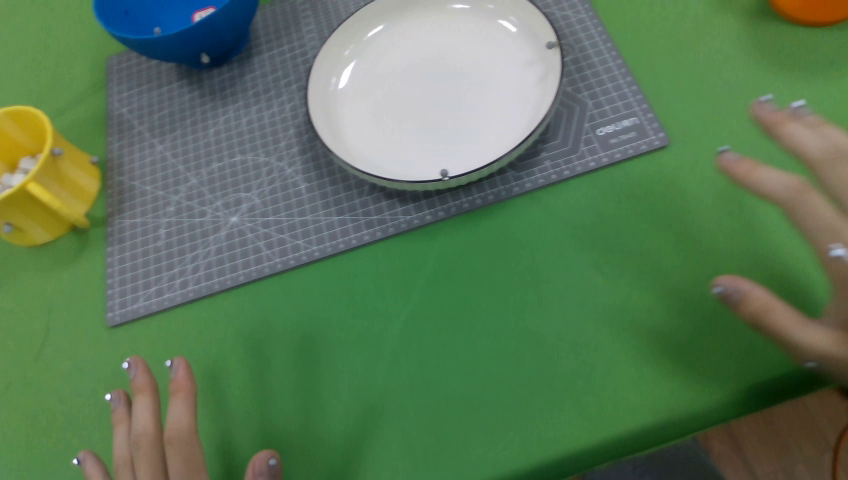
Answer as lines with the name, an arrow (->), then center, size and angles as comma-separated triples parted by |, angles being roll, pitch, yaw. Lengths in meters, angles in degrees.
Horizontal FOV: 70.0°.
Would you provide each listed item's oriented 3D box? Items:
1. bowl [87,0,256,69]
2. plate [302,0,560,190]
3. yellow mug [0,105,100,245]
bowl -> -0.215, -0.213, 0.557 | 0.151, 0.077, 0.150 | -4, 63, 9
plate -> 0.005, -0.126, 0.494 | 0.209, 0.038, 0.207 | -4, 63, 8
yellow mug -> -0.328, -0.047, 0.504 | 0.130, 0.064, 0.099 | 29, 72, 22
